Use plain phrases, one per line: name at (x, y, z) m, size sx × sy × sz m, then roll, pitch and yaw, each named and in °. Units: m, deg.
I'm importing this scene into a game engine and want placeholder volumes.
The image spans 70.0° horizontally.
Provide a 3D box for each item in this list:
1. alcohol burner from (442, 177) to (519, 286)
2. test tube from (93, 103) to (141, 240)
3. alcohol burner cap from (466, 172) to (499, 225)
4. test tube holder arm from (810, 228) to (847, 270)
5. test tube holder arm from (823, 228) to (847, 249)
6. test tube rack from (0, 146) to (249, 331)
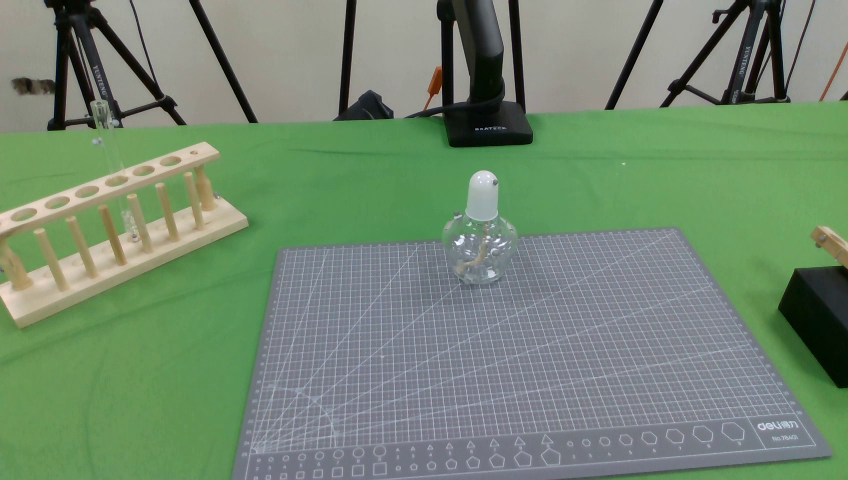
alcohol burner at (0.056, -0.013, 0.598) m, size 0.078 × 0.120 × 0.077 m, roll 1°, pitch 38°, yaw 0°
test tube at (-0.312, -0.065, 0.620) m, size 0.017 × 0.151 × 0.017 m, roll 1°, pitch 32°, yaw -1°
alcohol burner cap at (0.057, -0.042, 0.577) m, size 0.034 × 0.048 × 0.033 m, roll 1°, pitch 36°, yaw 0°
test tube holder arm at (0.389, 0.019, 0.553) m, size 0.010 × 0.015 × 0.087 m, roll -5°, pitch 38°, yaw -13°
test tube holder arm at (0.405, 0.045, 0.520) m, size 0.013 × 0.015 × 0.176 m, roll -6°, pitch 38°, yaw -14°
test tube rack at (-0.313, -0.010, 0.629) m, size 0.242 × 0.086 × 0.066 m, roll -29°, pitch 45°, yaw -33°
